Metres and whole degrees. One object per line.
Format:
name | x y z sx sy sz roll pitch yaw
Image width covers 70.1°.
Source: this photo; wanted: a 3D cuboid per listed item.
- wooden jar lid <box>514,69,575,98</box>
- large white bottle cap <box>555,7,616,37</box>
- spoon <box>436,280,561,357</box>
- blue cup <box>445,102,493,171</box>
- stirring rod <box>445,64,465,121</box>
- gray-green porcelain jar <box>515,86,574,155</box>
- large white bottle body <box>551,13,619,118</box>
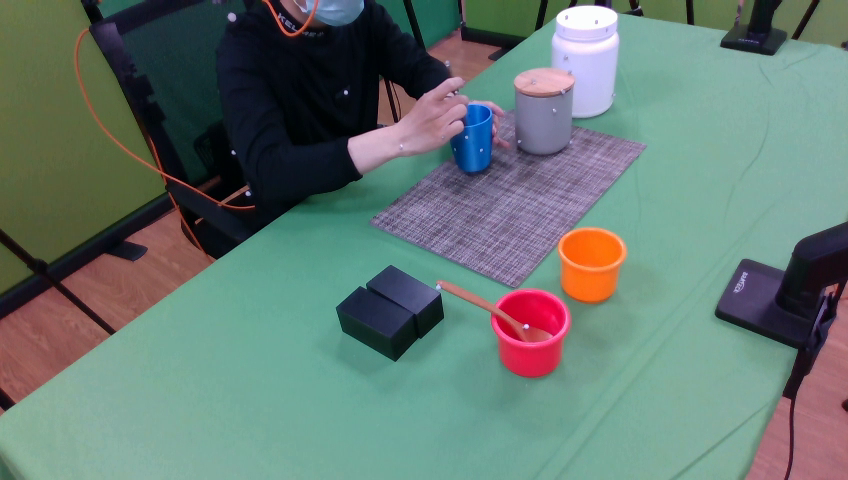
wooden jar lid | 0.216 -0.279 1.088 0.108 0.021 0.108 -3 38 3
large white bottle cap | 0.311 -0.420 1.163 0.115 0.018 0.114 -4 40 4
spoon | 0.096 0.095 0.757 0.195 0.021 0.041 34 43 -20
blue cup | 0.085 -0.181 1.084 0.092 0.100 0.092 -6 40 5
stirring rod | 0.064 -0.218 1.032 0.006 0.177 0.014 -11 38 15
gray-green porcelain jar | 0.223 -0.232 1.129 0.106 0.127 0.105 -4 40 4
large white bottle body | 0.321 -0.356 1.218 0.130 0.185 0.130 -4 41 4
